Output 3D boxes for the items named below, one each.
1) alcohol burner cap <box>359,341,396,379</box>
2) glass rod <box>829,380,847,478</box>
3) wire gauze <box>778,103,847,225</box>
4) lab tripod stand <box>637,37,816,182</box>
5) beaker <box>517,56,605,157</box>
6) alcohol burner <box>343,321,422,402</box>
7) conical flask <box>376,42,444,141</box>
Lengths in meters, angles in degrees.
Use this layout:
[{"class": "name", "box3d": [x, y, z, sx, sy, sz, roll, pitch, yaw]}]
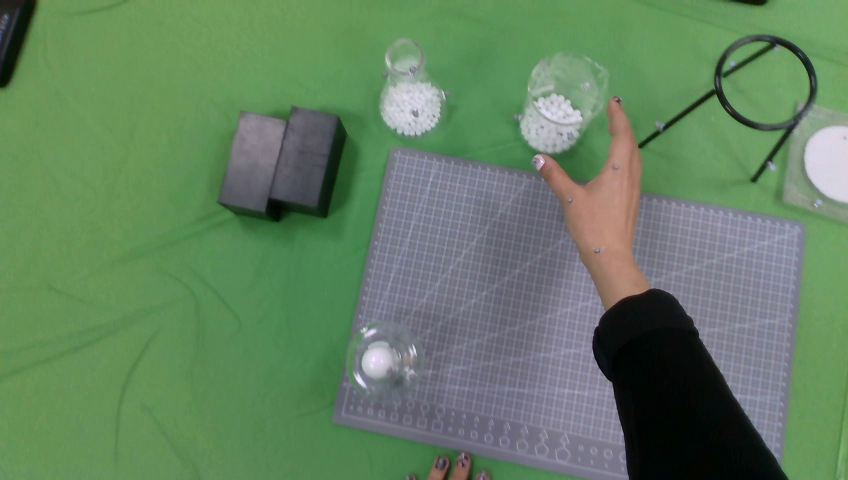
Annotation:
[{"class": "alcohol burner cap", "box3d": [-0.043, 0.108, 0.540, 0.034, 0.048, 0.034, 0, 84, 0]}, {"class": "glass rod", "box3d": [0.433, 0.141, 0.613, 0.008, 0.008, 0.199, 15, 83, 4]}, {"class": "wire gauze", "box3d": [0.449, -0.078, 0.651, 0.125, 0.011, 0.121, 17, 82, 3]}, {"class": "lab tripod stand", "box3d": [0.301, -0.126, 0.599, 0.148, 0.132, 0.148, 0, 82, 3]}, {"class": "beaker", "box3d": [0.137, -0.133, 0.623, 0.084, 0.100, 0.073, -27, 80, -3]}, {"class": "alcohol burner", "box3d": [-0.042, 0.115, 0.575, 0.078, 0.119, 0.077, -1, 79, 4]}, {"class": "conical flask", "box3d": [-0.017, -0.155, 0.619, 0.075, 0.122, 0.075, 0, 80, 2]}]
